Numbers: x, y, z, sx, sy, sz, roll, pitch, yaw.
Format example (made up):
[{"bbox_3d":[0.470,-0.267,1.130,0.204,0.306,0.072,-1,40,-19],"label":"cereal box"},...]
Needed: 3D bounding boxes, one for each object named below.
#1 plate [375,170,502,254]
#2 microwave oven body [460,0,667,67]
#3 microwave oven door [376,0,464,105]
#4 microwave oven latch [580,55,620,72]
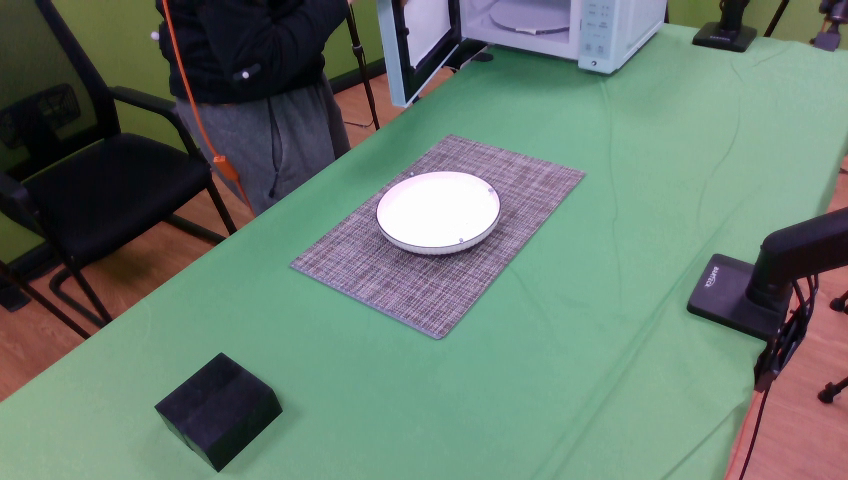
[{"bbox_3d":[0.024,-0.043,0.998,0.209,0.038,0.208,-3,41,3],"label":"plate"},{"bbox_3d":[0.324,-0.609,1.437,0.438,0.261,0.327,22,50,31],"label":"microwave oven body"},{"bbox_3d":[0.001,-0.496,1.345,0.039,0.245,0.356,12,45,21],"label":"microwave oven door"},{"bbox_3d":[0.386,-0.393,1.330,0.078,0.029,0.030,25,51,32],"label":"microwave oven latch"}]
